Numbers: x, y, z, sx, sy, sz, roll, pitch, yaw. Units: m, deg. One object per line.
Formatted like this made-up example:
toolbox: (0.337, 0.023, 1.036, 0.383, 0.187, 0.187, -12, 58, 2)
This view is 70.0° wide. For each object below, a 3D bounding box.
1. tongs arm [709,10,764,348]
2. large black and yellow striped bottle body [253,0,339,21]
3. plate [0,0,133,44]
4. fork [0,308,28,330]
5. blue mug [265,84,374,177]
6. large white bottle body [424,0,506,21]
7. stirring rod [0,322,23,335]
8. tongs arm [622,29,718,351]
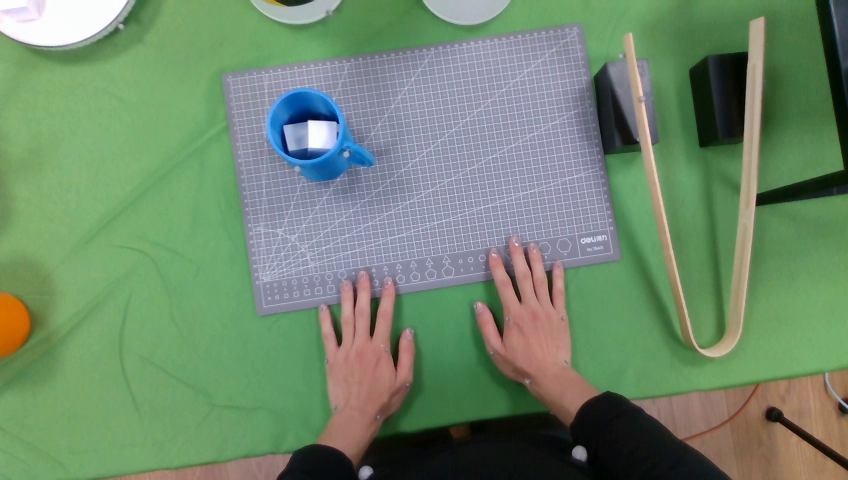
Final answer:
tongs arm: (0.367, -0.063, 0.706, 0.028, 0.027, 0.388, -1, 99, -10)
large black and yellow striped bottle body: (-0.157, -0.338, 0.664, 0.131, 0.184, 0.130, 0, 87, -1)
plate: (-0.439, -0.334, 0.729, 0.208, 0.039, 0.207, 0, 88, -1)
fork: (-0.548, 0.082, 0.651, 0.209, 0.018, 0.028, 12, 85, -44)
blue mug: (-0.112, -0.116, 0.691, 0.116, 0.106, 0.082, 21, 86, 0)
large white bottle body: (0.052, -0.341, 0.669, 0.131, 0.184, 0.130, 0, 87, -1)
stirring rod: (-0.537, 0.101, 0.653, 0.177, 0.006, 0.014, 2, 73, -42)
tongs arm: (0.286, -0.051, 0.701, 0.051, 0.026, 0.386, -13, 99, -4)
